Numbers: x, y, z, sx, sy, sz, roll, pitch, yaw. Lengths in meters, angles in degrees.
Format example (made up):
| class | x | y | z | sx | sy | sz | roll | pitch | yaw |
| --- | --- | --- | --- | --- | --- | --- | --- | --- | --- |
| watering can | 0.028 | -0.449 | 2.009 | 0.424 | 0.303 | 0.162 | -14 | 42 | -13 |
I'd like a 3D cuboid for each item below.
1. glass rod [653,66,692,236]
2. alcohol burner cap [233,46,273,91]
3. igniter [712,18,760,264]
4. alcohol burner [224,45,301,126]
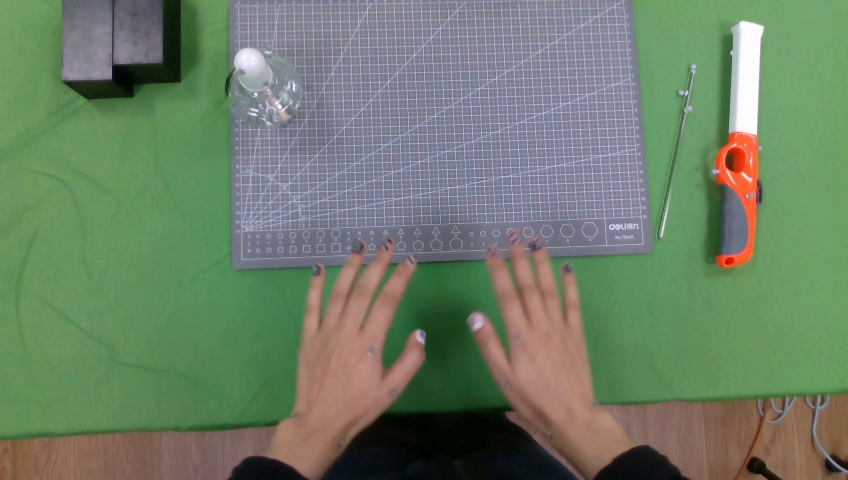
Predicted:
| class | x | y | z | sx | sy | sz | roll | pitch | yaw |
| --- | --- | --- | --- | --- | --- | --- | --- | --- | --- |
| glass rod | 0.276 | -0.101 | 0.673 | 0.008 | 0.008 | 0.199 | 14 | 84 | -1 |
| alcohol burner cap | -0.161 | -0.162 | 0.566 | 0.034 | 0.048 | 0.034 | 0 | 85 | -6 |
| igniter | 0.346 | -0.109 | 0.667 | 0.057 | 0.025 | 0.276 | 8 | 84 | -12 |
| alcohol burner | -0.164 | -0.158 | 0.601 | 0.078 | 0.119 | 0.077 | 0 | 81 | -2 |
